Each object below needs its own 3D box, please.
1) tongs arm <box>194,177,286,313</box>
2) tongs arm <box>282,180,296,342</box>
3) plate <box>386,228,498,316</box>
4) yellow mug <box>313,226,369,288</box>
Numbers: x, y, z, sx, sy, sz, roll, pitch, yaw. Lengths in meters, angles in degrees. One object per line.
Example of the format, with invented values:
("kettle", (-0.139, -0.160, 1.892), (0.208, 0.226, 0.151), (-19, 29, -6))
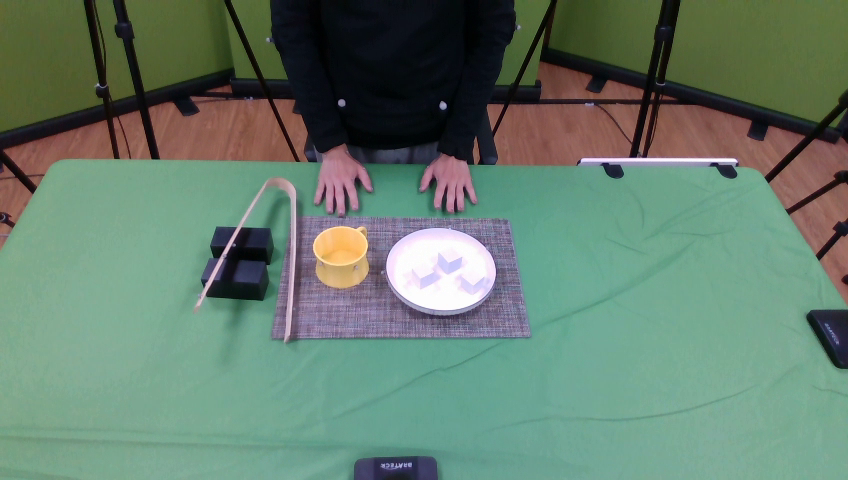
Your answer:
("tongs arm", (-0.328, -0.004, 1.113), (0.051, 0.026, 0.382), (25, 38, -15))
("tongs arm", (-0.256, 0.026, 1.142), (0.028, 0.028, 0.385), (12, 43, -23))
("plate", (0.032, 0.062, 1.126), (0.208, 0.039, 0.206), (2, 46, -2))
("yellow mug", (-0.146, 0.021, 1.131), (0.099, 0.064, 0.130), (24, 49, 19))
